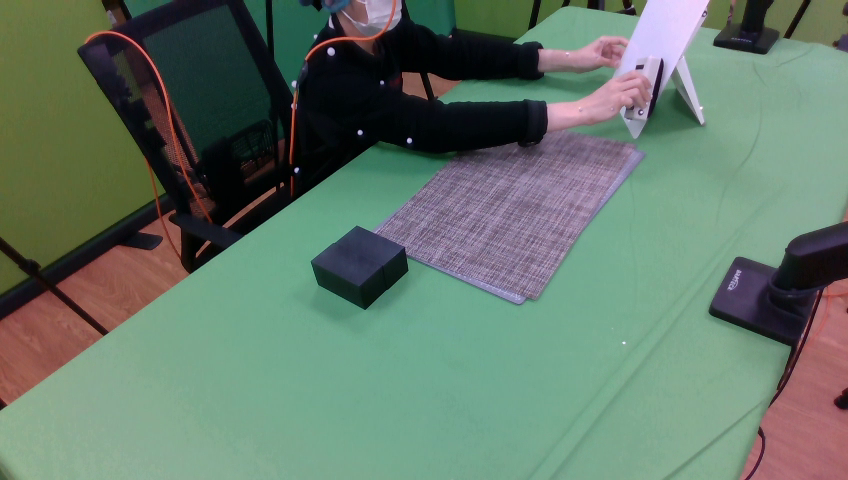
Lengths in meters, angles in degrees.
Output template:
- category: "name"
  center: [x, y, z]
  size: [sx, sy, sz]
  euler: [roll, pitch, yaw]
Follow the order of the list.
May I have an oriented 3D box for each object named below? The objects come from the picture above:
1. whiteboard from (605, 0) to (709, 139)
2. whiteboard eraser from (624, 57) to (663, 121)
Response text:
- category: "whiteboard"
  center: [0.496, -0.358, 1.146]
  size: [0.144, 0.305, 0.216]
  euler: [10, 40, -8]
- category: "whiteboard eraser"
  center: [0.401, -0.274, 1.102]
  size: [0.042, 0.112, 0.055]
  euler: [8, 12, -13]
